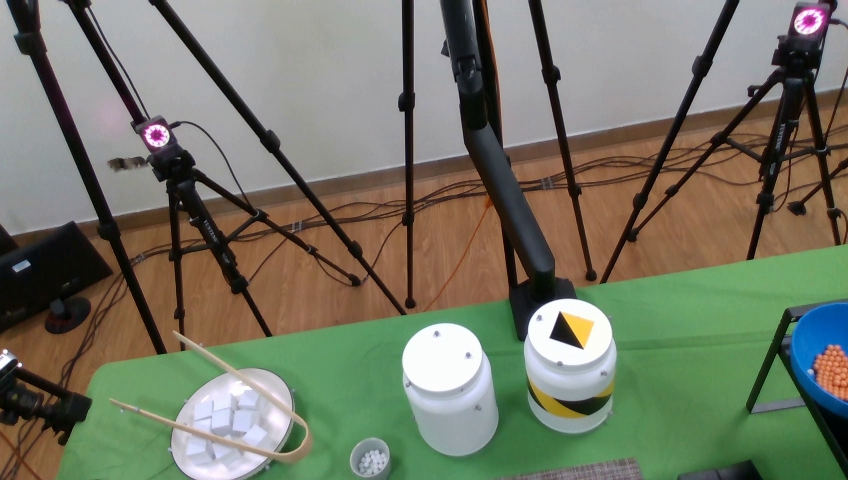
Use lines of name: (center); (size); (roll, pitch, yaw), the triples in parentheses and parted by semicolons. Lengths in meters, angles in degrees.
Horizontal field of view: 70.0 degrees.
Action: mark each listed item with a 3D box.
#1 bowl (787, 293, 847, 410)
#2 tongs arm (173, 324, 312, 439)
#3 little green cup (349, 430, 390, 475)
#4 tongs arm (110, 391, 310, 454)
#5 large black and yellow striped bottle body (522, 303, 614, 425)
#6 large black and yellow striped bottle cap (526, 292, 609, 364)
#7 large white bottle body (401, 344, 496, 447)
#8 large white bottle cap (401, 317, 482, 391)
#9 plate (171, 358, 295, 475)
bowl: (0.498, 0.144, 0.704); (0.151, 0.077, 0.150); (-6, 46, 6)
tongs arm: (-0.321, 0.230, 1.039); (0.384, 0.028, 0.028); (23, 50, 32)
little green cup: (-0.081, 0.330, 0.934); (0.061, 0.039, 0.061); (-6, 47, 7)
tongs arm: (-0.361, 0.286, 0.993); (0.382, 0.027, 0.050); (10, 47, 24)
large black and yellow striped bottle body: (0.216, 0.180, 0.911); (0.130, 0.186, 0.129); (-6, 46, 7)
large black and yellow striped bottle cap: (0.201, 0.121, 0.851); (0.115, 0.019, 0.114); (-5, 46, 6)
large white bottle body: (0.038, 0.216, 0.915); (0.130, 0.186, 0.129); (-6, 46, 7)
large white bottle cap: (0.024, 0.158, 0.853); (0.115, 0.018, 0.113); (-6, 46, 7)
plate: (-0.315, 0.297, 1.018); (0.207, 0.039, 0.205); (-6, 46, 7)
